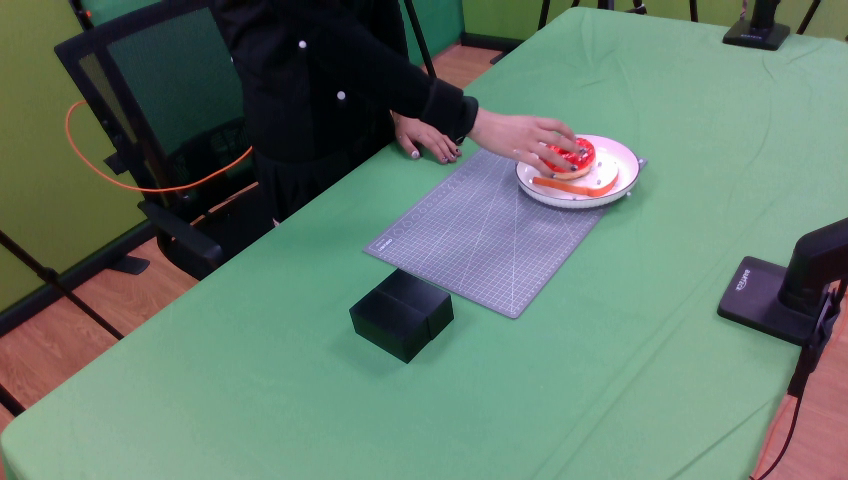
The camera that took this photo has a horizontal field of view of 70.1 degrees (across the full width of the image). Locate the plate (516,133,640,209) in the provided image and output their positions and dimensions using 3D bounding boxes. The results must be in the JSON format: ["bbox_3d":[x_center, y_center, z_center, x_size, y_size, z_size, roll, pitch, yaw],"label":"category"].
[{"bbox_3d":[0.266,-0.117,1.054,0.209,0.038,0.208,-5,40,5],"label":"plate"}]

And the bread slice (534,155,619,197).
[{"bbox_3d":[0.274,-0.119,1.057,0.130,0.019,0.105,20,49,30],"label":"bread slice"}]

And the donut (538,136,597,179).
[{"bbox_3d":[0.248,-0.144,1.047,0.099,0.048,0.098,-8,41,8],"label":"donut"}]
